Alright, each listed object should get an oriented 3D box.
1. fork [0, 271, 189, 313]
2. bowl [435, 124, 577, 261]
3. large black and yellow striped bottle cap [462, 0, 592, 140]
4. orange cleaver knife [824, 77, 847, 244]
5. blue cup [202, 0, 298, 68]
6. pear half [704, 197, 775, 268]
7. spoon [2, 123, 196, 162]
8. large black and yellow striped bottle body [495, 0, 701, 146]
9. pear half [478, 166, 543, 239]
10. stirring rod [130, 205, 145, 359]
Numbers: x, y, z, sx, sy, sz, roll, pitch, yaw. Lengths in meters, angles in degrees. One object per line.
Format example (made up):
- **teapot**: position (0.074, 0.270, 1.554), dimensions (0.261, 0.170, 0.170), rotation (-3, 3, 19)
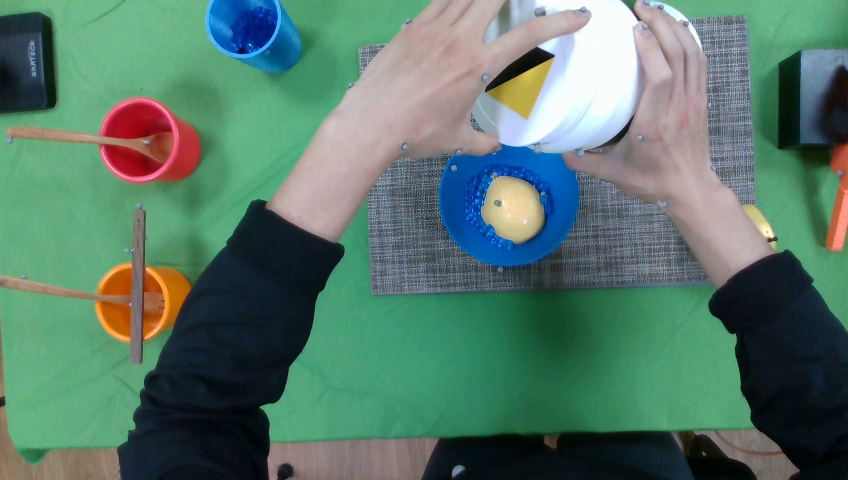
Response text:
- **fork**: position (-0.376, 0.059, 0.692), dimensions (0.209, 0.018, 0.028), rotation (15, 103, -39)
- **bowl**: position (0.091, -0.052, 0.680), dimensions (0.151, 0.077, 0.151), rotation (0, 91, 6)
- **large black and yellow striped bottle cap**: position (0.075, -0.135, 0.465), dimensions (0.114, 0.019, 0.115), rotation (18, 115, 46)
- **orange cleaver knife**: position (0.451, -0.098, 0.648), dimensions (0.012, 0.076, 0.213), rotation (0, 120, 11)
- **blue cup**: position (-0.189, -0.241, 0.693), dimensions (0.092, 0.100, 0.092), rotation (0, 91, 8)
- **pear half**: position (0.335, -0.005, 0.643), dimensions (0.056, 0.110, 0.076), rotation (-22, 85, 6)
- **spoon**: position (-0.363, -0.117, 0.691), dimensions (0.195, 0.021, 0.041), rotation (2, 94, -38)
- **large black and yellow striped bottle body**: position (0.137, -0.149, 0.520), dimensions (0.129, 0.185, 0.131), rotation (16, 111, 46)
- **pear half**: position (0.094, -0.046, 0.673), dimensions (0.070, 0.031, 0.088), rotation (-29, 84, 1)
- **stirring rod**: position (-0.324, 0.048, 0.685), dimensions (0.014, 0.006, 0.176), rotation (2, 92, 4)
